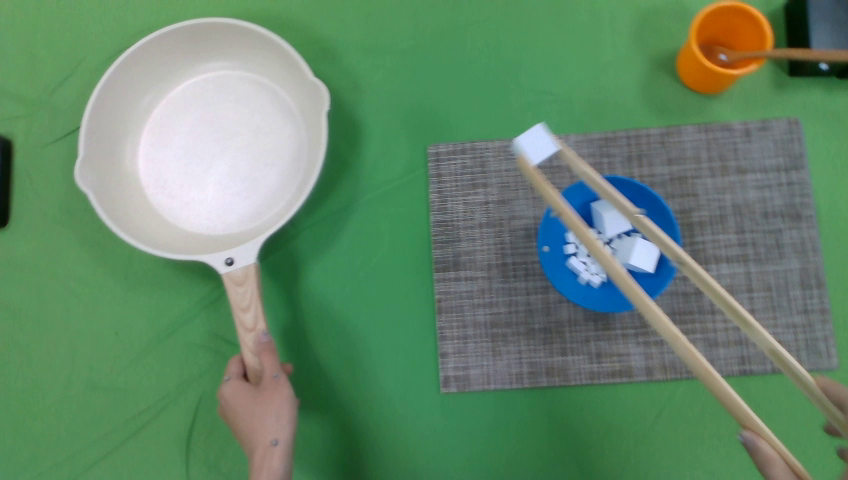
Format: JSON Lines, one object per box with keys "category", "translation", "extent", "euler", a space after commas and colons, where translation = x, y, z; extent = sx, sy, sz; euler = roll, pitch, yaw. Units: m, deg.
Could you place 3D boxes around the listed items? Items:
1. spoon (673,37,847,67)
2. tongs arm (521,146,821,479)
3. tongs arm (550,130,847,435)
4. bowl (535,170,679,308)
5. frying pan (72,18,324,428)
{"category": "spoon", "translation": [0.367, -0.211, 0.673], "extent": [0.022, 0.192, 0.041], "euler": [38, 80, -35]}
{"category": "tongs arm", "translation": [0.200, 0.056, 0.495], "extent": [0.028, 0.028, 0.384], "euler": [-30, 64, -14]}
{"category": "tongs arm", "translation": [0.220, 0.044, 0.499], "extent": [0.051, 0.027, 0.381], "euler": [-36, 65, -12]}
{"category": "bowl", "translation": [0.196, 0.005, 0.679], "extent": [0.151, 0.077, 0.151], "euler": [0, 81, 3]}
{"category": "frying pan", "translation": [-0.229, -0.024, 0.699], "extent": [0.307, 0.103, 0.484], "euler": [-19, 72, 1]}
